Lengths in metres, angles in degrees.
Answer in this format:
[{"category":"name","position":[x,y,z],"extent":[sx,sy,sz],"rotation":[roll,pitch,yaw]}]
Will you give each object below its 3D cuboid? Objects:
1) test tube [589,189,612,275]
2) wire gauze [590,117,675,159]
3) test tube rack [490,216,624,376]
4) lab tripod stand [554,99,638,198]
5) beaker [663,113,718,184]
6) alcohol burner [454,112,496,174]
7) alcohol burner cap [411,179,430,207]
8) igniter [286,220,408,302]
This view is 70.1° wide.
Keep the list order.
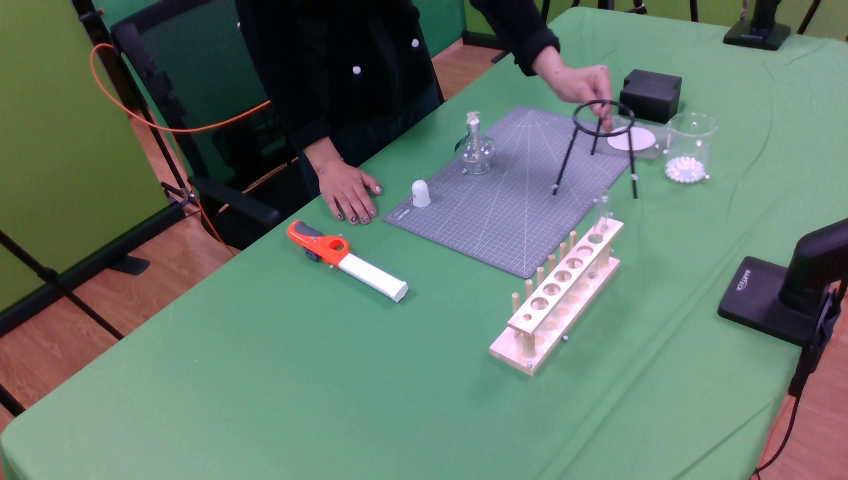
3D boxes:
[{"category":"test tube","position":[0.238,-0.007,0.818],"extent":[0.017,0.151,0.017],"rotation":[-3,43,4]},{"category":"wire gauze","position":[0.394,-0.192,1.139],"extent":[0.120,0.011,0.125],"rotation":[19,47,28]},{"category":"test tube rack","position":[0.184,0.064,0.822],"extent":[0.066,0.085,0.243],"rotation":[24,50,33]},{"category":"lab tripod stand","position":[0.277,-0.140,0.947],"extent":[0.148,0.132,0.147],"rotation":[-2,47,2]},{"category":"beaker","position":[0.442,-0.151,1.018],"extent":[0.084,0.101,0.074],"rotation":[-1,40,11]},{"category":"alcohol burner","position":[0.092,-0.181,1.102],"extent":[0.078,0.119,0.077],"rotation":[-5,42,5]},{"category":"alcohol burner cap","position":[-0.008,-0.085,1.063],"extent":[0.034,0.048,0.033],"rotation":[-4,40,4]},{"category":"igniter","position":[-0.133,0.028,0.968],"extent":[0.274,0.025,0.057],"rotation":[27,61,35]}]
